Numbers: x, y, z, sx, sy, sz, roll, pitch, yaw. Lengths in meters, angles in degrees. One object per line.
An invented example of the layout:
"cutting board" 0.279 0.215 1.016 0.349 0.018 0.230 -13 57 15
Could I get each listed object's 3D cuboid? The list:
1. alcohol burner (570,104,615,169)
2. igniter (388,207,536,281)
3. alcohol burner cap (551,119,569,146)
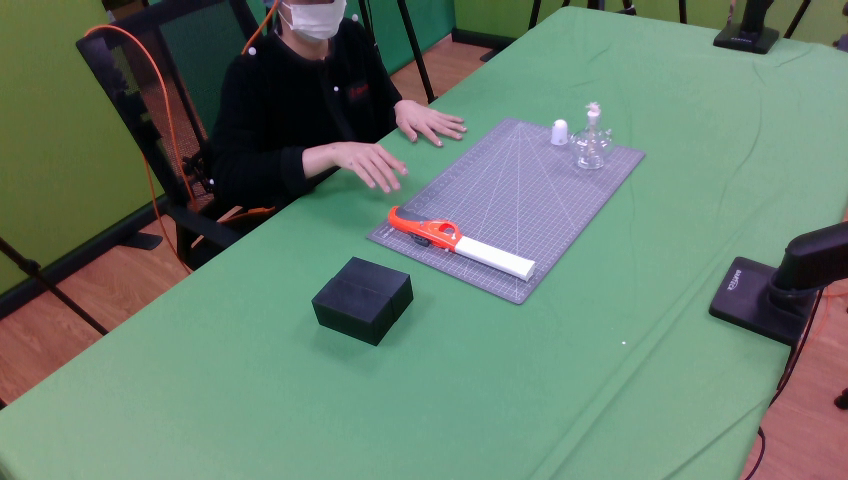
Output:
"alcohol burner" 0.299 -0.186 1.071 0.078 0.119 0.077 -6 41 6
"igniter" 0.049 0.001 0.954 0.274 0.025 0.057 22 59 31
"alcohol burner cap" 0.261 -0.207 1.156 0.034 0.048 0.033 -5 41 5
